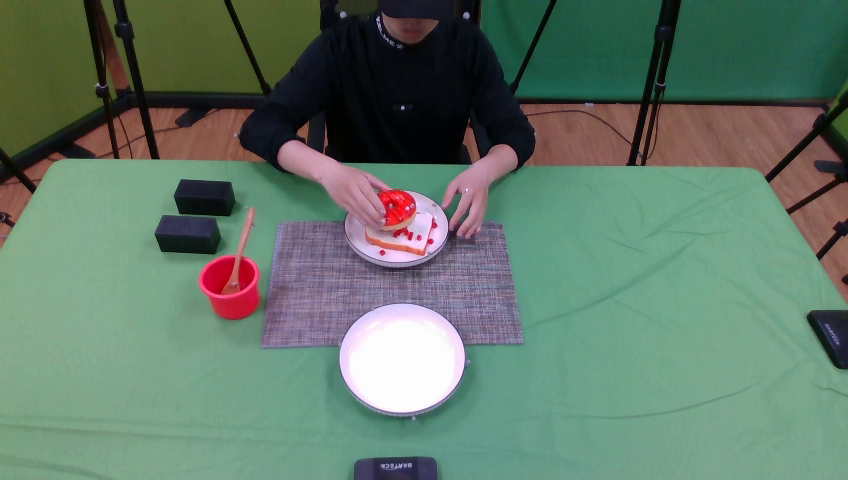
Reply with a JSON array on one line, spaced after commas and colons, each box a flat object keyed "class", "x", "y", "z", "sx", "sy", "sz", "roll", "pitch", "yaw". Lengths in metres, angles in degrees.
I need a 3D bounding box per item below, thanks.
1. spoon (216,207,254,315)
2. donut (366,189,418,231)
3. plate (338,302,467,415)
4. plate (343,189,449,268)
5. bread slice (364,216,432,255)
[{"class": "spoon", "x": -0.322, "y": 0.036, "z": 1.053, "sx": 0.041, "sy": 0.021, "sz": 0.193, "roll": 14, "pitch": 90, "yaw": 11}, {"class": "donut", "x": -0.060, "y": -0.058, "z": 1.149, "sx": 0.099, "sy": 0.048, "sz": 0.098, "roll": -1, "pitch": 47, "yaw": 1}, {"class": "plate", "x": -0.035, "y": 0.194, "z": 0.992, "sx": 0.208, "sy": 0.039, "sz": 0.206, "roll": 2, "pitch": 48, "yaw": -2}, {"class": "plate", "x": -0.055, "y": -0.019, "z": 1.195, "sx": 0.209, "sy": 0.038, "sz": 0.208, "roll": 3, "pitch": 46, "yaw": -2}, {"class": "bread slice", "x": -0.054, "y": -0.019, "z": 1.201, "sx": 0.131, "sy": 0.019, "sz": 0.104, "roll": 12, "pitch": 46, "yaw": 1}]
